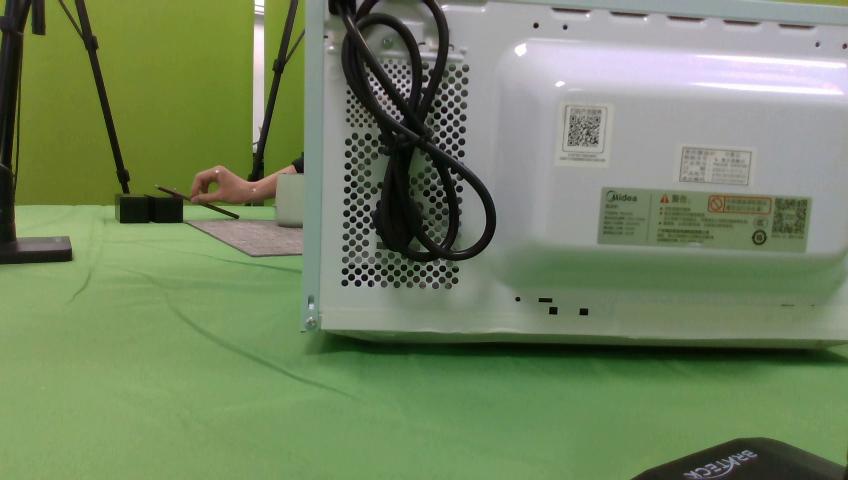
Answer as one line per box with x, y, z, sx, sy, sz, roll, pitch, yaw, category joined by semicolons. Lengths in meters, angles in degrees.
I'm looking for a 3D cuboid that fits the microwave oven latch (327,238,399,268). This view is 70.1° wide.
-0.069;0.015;0.694;0.079;0.029;0.030;3;7;-3;microwave oven latch

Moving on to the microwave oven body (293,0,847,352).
0.122;-0.055;0.550;0.442;0.260;0.325;3;7;-5;microwave oven body

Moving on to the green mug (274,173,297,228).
-0.242;-0.081;1.221;0.092;0.105;0.126;8;9;40;green mug

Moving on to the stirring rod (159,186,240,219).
-0.472;-0.078;1.279;0.177;0.006;0.014;24;-33;-38;stirring rod

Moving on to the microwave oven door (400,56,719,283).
0.155;-0.077;0.697;0.356;0.243;0.039;2;8;-5;microwave oven door
